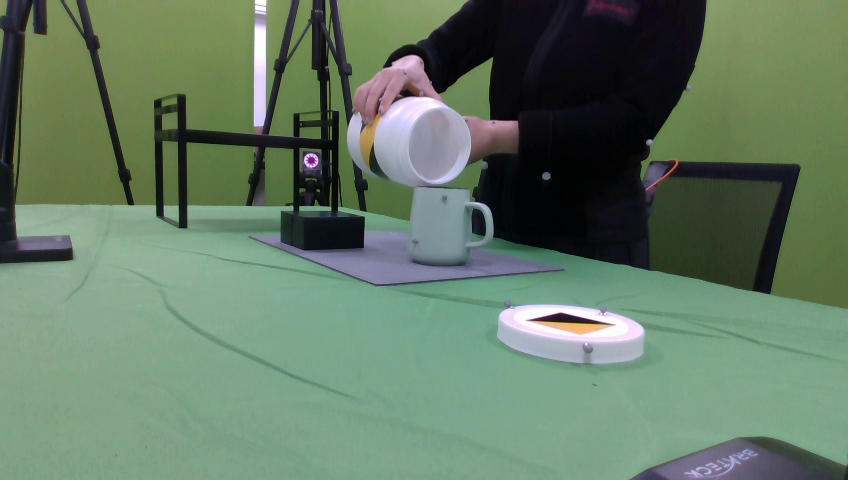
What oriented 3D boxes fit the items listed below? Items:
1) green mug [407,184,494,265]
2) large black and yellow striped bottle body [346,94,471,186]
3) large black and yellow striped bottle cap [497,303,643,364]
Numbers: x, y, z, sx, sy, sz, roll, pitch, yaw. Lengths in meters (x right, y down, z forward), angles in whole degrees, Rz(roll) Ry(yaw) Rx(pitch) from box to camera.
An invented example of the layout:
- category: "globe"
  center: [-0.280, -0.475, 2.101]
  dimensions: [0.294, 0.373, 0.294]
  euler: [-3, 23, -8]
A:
- category: "green mug"
  center: [0.038, -0.021, 0.827]
  dimensions: [0.125, 0.105, 0.093]
  euler: [7, 8, 30]
- category: "large black and yellow striped bottle body"
  center: [-0.024, -0.151, 0.906]
  dimensions: [0.131, 0.130, 0.183]
  euler: [-2, 14, -31]
- category: "large black and yellow striped bottle cap"
  center: [0.117, 0.072, 0.486]
  dimensions: [0.115, 0.019, 0.115]
  euler: [1, 8, 0]
